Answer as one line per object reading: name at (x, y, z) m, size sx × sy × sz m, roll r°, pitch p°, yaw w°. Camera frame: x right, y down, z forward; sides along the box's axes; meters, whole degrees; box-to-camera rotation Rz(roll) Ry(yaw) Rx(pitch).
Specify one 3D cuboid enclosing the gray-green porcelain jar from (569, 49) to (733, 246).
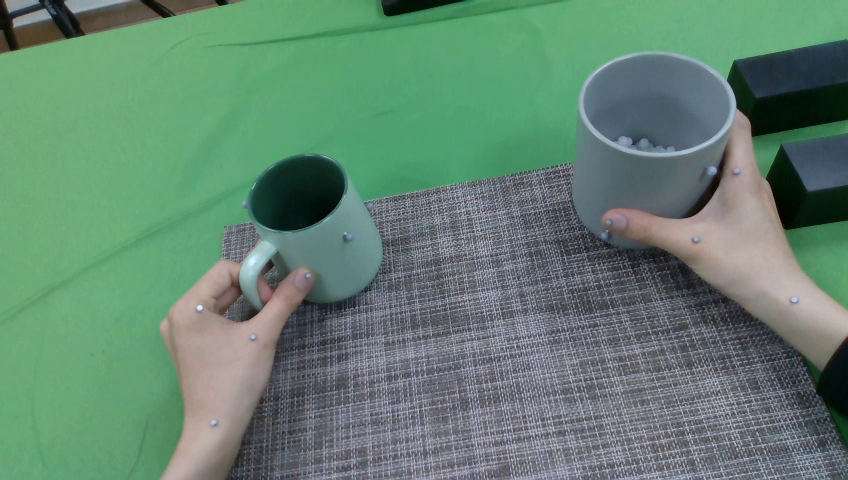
gray-green porcelain jar at (0.168, -0.064, 0.472) m, size 0.106 × 0.128 × 0.105 m, roll -5°, pitch 55°, yaw 7°

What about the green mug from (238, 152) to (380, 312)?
green mug at (-0.098, 0.004, 0.491) m, size 0.092 × 0.106 × 0.125 m, roll 26°, pitch 65°, yaw 25°
